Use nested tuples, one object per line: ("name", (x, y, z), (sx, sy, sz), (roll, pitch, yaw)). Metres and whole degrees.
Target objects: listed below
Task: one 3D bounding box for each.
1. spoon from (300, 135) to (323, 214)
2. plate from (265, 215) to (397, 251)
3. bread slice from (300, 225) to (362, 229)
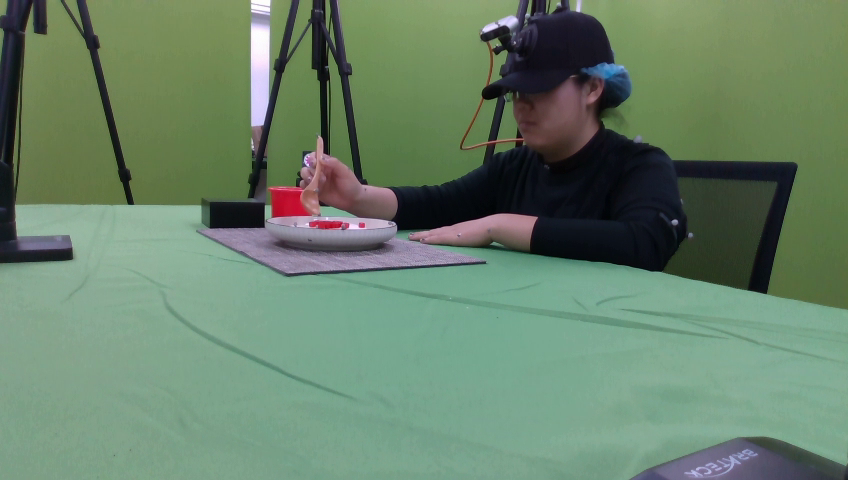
("spoon", (-0.184, -0.115, 1.031), (0.021, 0.193, 0.042), (-27, -48, 30))
("plate", (-0.147, -0.012, 0.963), (0.209, 0.038, 0.209), (3, 7, 0))
("bread slice", (-0.154, -0.011, 0.973), (0.132, 0.019, 0.104), (-1, 7, -31))
